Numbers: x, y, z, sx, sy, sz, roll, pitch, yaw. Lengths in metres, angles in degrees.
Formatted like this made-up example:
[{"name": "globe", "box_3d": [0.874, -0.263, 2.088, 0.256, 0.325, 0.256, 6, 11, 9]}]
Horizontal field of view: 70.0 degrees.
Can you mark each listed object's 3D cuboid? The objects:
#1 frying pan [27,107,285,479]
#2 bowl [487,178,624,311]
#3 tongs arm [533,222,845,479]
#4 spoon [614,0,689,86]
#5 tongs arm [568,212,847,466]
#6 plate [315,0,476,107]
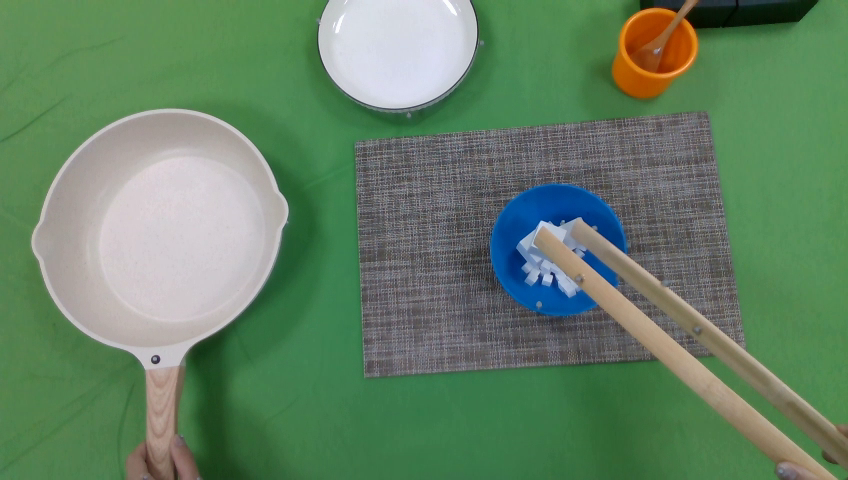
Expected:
[{"name": "frying pan", "box_3d": [-0.302, 0.083, 0.703, 0.307, 0.103, 0.484, -7, 71, 3]}, {"name": "bowl", "box_3d": [0.146, 0.011, 0.702, 0.151, 0.077, 0.150, 0, 79, 3]}, {"name": "tongs arm", "box_3d": [0.234, 0.105, 0.532, 0.383, 0.028, 0.028, 45, 129, 31]}, {"name": "spoon", "box_3d": [0.294, -0.265, 0.715, 0.041, 0.194, 0.021, 46, 40, 14]}, {"name": "tongs arm", "box_3d": [0.262, 0.098, 0.553, 0.051, 0.027, 0.381, -16, 49, -40]}, {"name": "plate", "box_3d": [-0.036, -0.267, 0.789, 0.207, 0.039, 0.206, -1, 79, 3]}]
